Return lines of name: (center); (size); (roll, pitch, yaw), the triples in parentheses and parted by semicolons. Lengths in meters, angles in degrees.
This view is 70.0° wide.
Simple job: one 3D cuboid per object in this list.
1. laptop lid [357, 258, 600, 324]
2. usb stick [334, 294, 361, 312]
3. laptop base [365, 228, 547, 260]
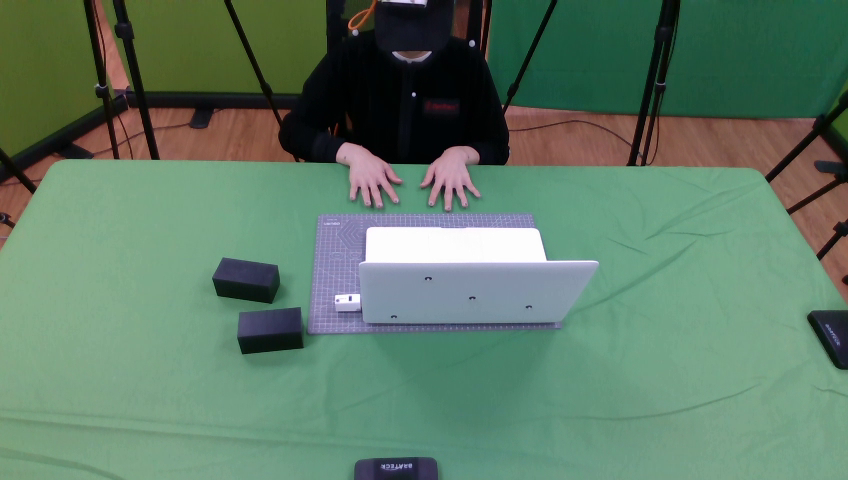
laptop lid: (0.075, 0.087, 0.959); (0.357, 0.242, 0.013); (1, 60, -5)
usb stick: (-0.128, 0.111, 1.066); (0.059, 0.027, 0.021); (1, 45, -6)
laptop base: (0.064, 0.062, 1.144); (0.355, 0.023, 0.234); (0, 42, -4)
